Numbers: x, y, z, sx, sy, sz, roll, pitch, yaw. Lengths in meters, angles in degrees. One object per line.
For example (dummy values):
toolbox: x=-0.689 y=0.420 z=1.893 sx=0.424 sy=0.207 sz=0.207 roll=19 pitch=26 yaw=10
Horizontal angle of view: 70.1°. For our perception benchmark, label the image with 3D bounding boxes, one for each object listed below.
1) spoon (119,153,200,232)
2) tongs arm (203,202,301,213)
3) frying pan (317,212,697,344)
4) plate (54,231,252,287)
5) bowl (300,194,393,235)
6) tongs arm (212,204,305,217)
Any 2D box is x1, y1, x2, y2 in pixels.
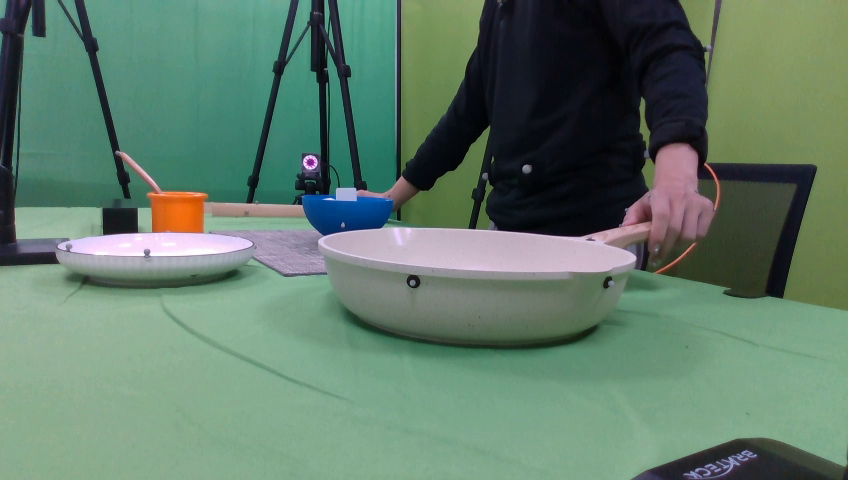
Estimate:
spoon: x=-0.439 y=-0.077 z=1.001 sx=0.021 sy=0.193 sz=0.042 roll=-43 pitch=-6 yaw=21
tongs arm: x=-0.311 y=-0.072 z=1.418 sx=0.387 sy=0.026 sz=0.050 roll=0 pitch=3 yaw=-23
frying pan: x=0.133 y=0.013 z=0.630 sx=0.490 sy=0.102 sz=0.305 roll=-12 pitch=14 yaw=-31
plate: x=-0.309 y=0.020 z=0.705 sx=0.208 sy=0.039 sz=0.207 roll=2 pitch=7 yaw=0
bowl: x=-0.128 y=-0.034 z=0.995 sx=0.151 sy=0.077 sz=0.151 roll=2 pitch=7 yaw=0
tongs arm: x=-0.276 y=-0.065 z=1.348 sx=0.390 sy=0.027 sz=0.028 roll=-1 pitch=1 yaw=-35
